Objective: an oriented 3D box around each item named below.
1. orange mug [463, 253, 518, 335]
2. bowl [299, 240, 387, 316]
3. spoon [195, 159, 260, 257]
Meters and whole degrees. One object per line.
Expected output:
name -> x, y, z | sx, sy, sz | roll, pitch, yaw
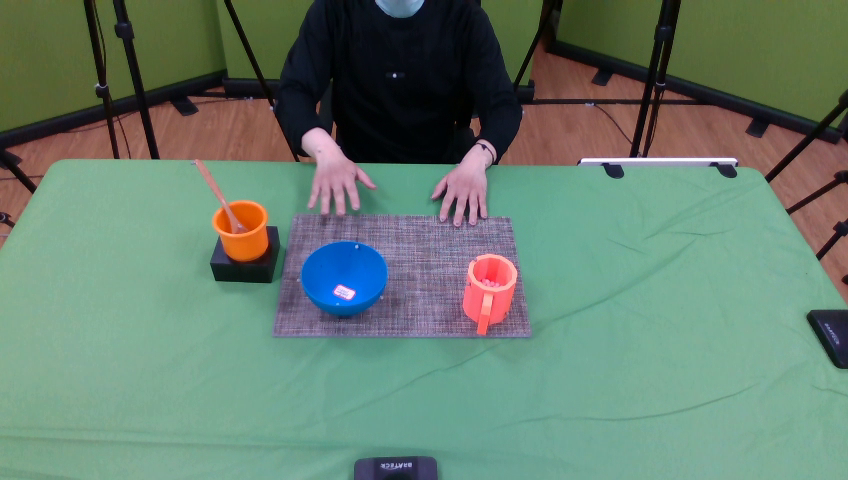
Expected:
orange mug -> 0.112, 0.098, 1.050 | 0.083, 0.101, 0.125 | 10, 42, 6
bowl -> -0.139, 0.081, 1.064 | 0.151, 0.077, 0.150 | 2, 46, -1
spoon -> -0.348, -0.057, 1.069 | 0.041, 0.194, 0.021 | -32, 12, -26
